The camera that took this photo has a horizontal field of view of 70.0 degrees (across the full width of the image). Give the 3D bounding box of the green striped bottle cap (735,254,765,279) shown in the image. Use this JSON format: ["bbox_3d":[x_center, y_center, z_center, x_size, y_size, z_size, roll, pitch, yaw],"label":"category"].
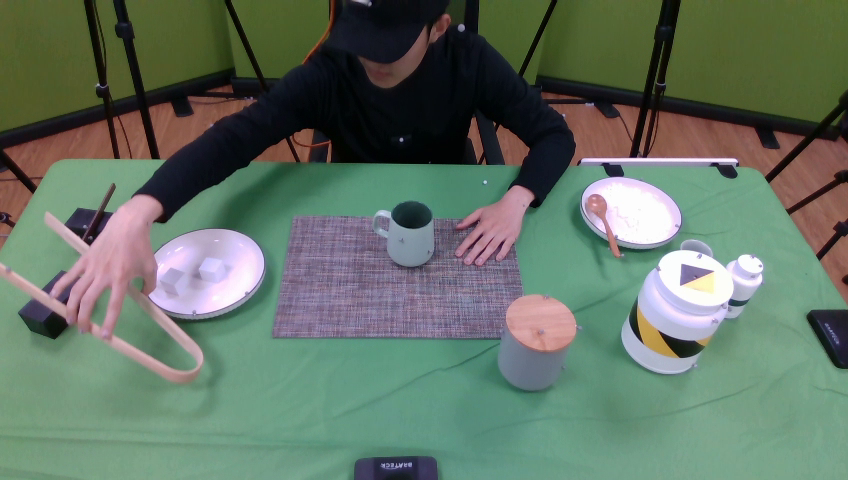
[{"bbox_3d":[0.566,0.046,1.051,0.044,0.020,0.044,0,45,0],"label":"green striped bottle cap"}]

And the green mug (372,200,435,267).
[{"bbox_3d":[-0.040,-0.016,1.146,0.125,0.105,0.092,17,48,13],"label":"green mug"}]

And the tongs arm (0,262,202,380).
[{"bbox_3d":[-0.514,0.107,0.923,0.384,0.026,0.050,32,33,3],"label":"tongs arm"}]

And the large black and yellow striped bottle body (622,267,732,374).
[{"bbox_3d":[0.415,0.119,0.997,0.131,0.185,0.130,2,46,-2],"label":"large black and yellow striped bottle body"}]

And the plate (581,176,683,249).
[{"bbox_3d":[0.430,-0.054,1.267,0.209,0.038,0.208,2,46,-2],"label":"plate"}]

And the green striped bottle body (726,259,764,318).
[{"bbox_3d":[0.563,0.081,1.089,0.063,0.120,0.063,2,46,-2],"label":"green striped bottle body"}]

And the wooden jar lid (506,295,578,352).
[{"bbox_3d":[0.179,0.130,0.925,0.108,0.021,0.107,2,43,-2],"label":"wooden jar lid"}]

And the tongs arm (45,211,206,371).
[{"bbox_3d":[-0.487,0.077,0.981,0.386,0.028,0.028,38,30,11],"label":"tongs arm"}]

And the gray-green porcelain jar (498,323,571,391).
[{"bbox_3d":[0.176,0.172,0.971,0.106,0.127,0.105,2,46,-2],"label":"gray-green porcelain jar"}]

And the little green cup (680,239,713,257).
[{"bbox_3d":[0.530,0.033,1.189,0.061,0.039,0.061,2,48,-3],"label":"little green cup"}]

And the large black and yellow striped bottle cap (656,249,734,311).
[{"bbox_3d":[0.419,0.061,0.938,0.115,0.019,0.114,2,47,-2],"label":"large black and yellow striped bottle cap"}]

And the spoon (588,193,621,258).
[{"bbox_3d":[0.367,-0.032,1.220,0.041,0.022,0.192,1,38,-1],"label":"spoon"}]

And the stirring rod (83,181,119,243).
[{"bbox_3d":[-0.604,-0.048,1.129,0.006,0.014,0.175,-4,48,6],"label":"stirring rod"}]

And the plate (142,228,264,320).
[{"bbox_3d":[-0.394,0.064,1.095,0.208,0.039,0.206,2,46,-2],"label":"plate"}]
